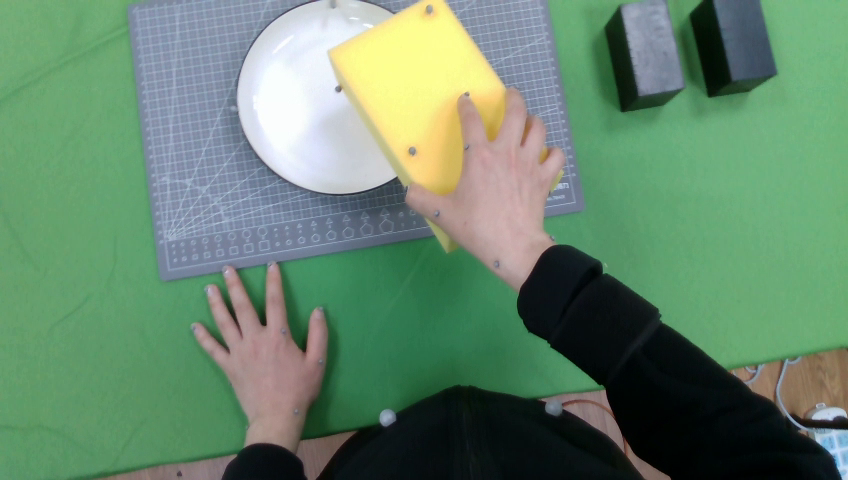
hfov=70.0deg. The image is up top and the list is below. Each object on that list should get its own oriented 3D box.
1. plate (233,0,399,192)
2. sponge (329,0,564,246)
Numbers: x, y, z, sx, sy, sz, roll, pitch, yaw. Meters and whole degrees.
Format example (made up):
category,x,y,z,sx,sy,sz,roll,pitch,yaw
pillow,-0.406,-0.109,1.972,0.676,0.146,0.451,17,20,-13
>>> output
category,x,y,z,sx,sy,sz,roll,pitch,yaw
plate,-0.089,-0.149,0.631,0.209,0.038,0.208,0,84,-3
sponge,0.018,-0.113,0.555,0.118,0.061,0.206,-32,79,-6
